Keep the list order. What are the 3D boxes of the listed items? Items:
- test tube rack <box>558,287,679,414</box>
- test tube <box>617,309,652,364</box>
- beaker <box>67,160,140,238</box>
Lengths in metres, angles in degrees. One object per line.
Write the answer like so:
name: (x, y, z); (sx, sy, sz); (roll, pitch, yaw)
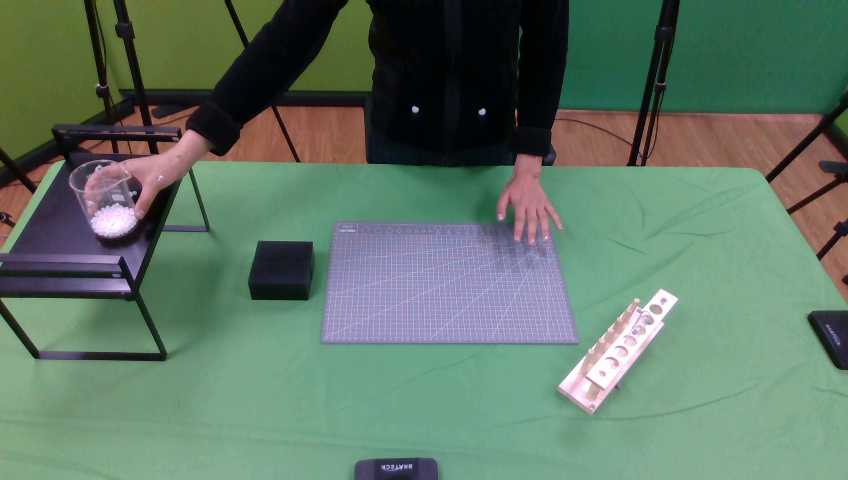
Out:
test tube rack: (0.326, 0.170, 1.009); (0.066, 0.085, 0.242); (35, 54, 26)
test tube: (0.328, 0.156, 0.955); (0.017, 0.151, 0.017); (1, 50, -1)
beaker: (-0.471, -0.059, 0.906); (0.084, 0.101, 0.073); (-7, 47, -13)
